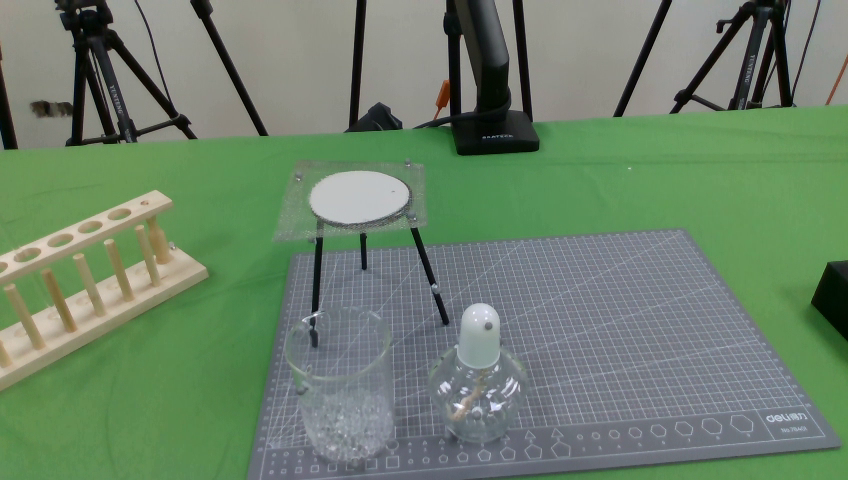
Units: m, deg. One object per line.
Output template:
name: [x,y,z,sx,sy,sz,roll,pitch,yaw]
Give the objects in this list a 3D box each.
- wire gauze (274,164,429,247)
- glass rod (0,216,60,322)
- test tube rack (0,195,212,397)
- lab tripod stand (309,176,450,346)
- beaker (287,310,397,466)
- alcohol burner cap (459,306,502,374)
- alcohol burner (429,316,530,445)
wire gauze: [-0.058,-0.035,0.518,0.121,0.011,0.124,-2,36,-1]
glass rod: [-0.371,-0.004,0.538,0.008,0.201,0.008,-6,32,4]
test tube rack: [-0.334,0.051,0.574,0.066,0.086,0.242,26,44,34]
lab tripod stand: [-0.047,0.018,0.559,0.148,0.132,0.147,0,34,0]
beaker: [-0.059,0.112,0.455,0.083,0.101,0.074,24,43,33]
alcohol burner cap: [0.042,0.069,0.436,0.034,0.048,0.033,1,37,0]
alcohol burner: [0.042,0.098,0.456,0.078,0.120,0.077,-1,37,1]
